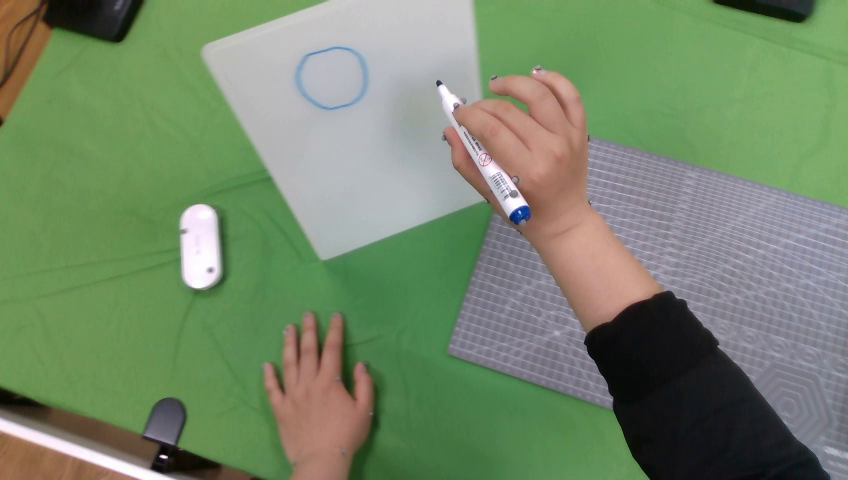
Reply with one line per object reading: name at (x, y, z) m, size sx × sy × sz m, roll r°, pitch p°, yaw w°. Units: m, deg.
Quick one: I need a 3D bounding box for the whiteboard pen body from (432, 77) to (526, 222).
whiteboard pen body at (0.035, -0.070, 0.432) m, size 0.017 × 0.017 × 0.139 m, roll -25°, pitch 62°, yaw -4°

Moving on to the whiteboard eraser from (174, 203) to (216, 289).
whiteboard eraser at (-0.266, 0.006, 0.701) m, size 0.041 × 0.019 × 0.100 m, roll -9°, pitch 75°, yaw -1°

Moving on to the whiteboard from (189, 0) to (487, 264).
whiteboard at (-0.073, -0.149, 0.622) m, size 0.217 × 0.308 × 0.142 m, roll -21°, pitch 55°, yaw -3°
